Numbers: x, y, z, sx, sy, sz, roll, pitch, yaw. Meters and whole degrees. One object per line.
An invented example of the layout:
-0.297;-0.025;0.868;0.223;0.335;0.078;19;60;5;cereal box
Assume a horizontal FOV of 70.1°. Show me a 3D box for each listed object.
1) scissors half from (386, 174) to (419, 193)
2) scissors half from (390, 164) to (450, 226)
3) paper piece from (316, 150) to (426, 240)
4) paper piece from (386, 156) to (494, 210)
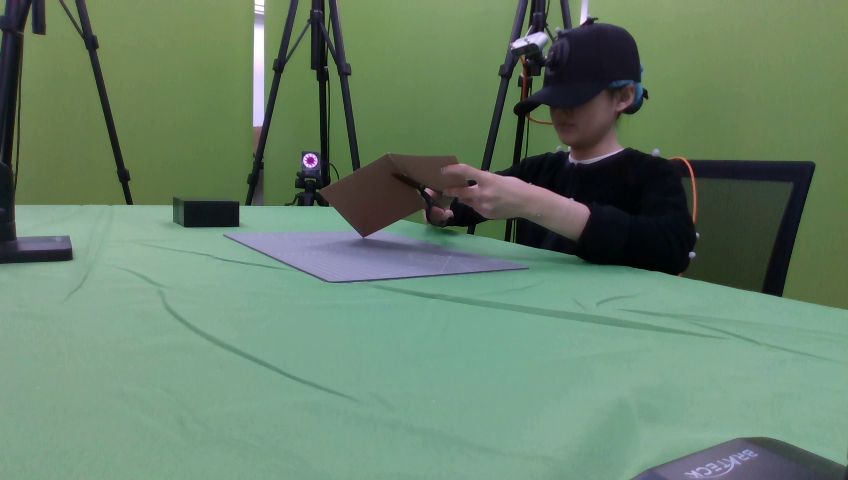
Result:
0.002;-0.095;1.016;0.176;0.040;0.012;4;15;-44;scissors half
-0.007;-0.074;1.016;0.013;0.040;0.176;19;-19;43;scissors half
-0.084;-0.069;1.005;0.138;0.136;0.008;-28;40;13;paper piece
0.024;-0.089;0.945;0.135;0.004;0.136;10;-24;41;paper piece
